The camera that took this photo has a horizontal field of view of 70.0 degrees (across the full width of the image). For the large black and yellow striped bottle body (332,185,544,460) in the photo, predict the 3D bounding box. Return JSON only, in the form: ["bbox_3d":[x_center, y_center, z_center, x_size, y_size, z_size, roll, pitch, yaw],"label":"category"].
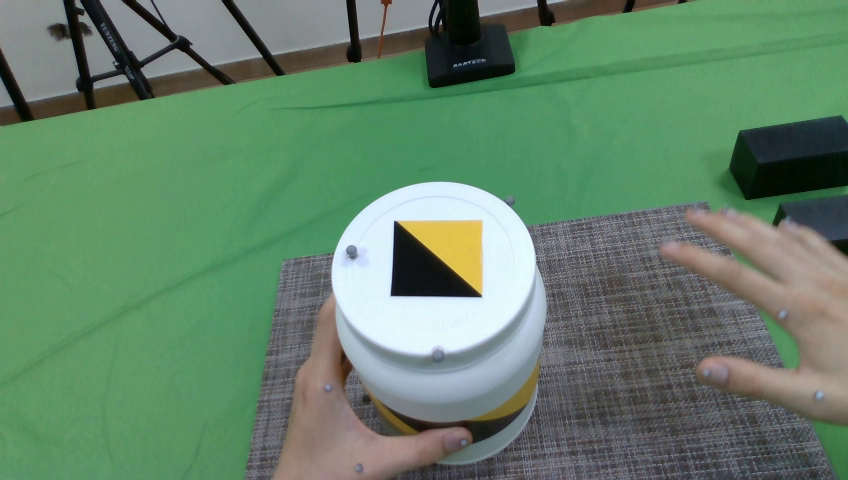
[{"bbox_3d":[0.013,0.061,0.409,0.131,0.186,0.129,-3,56,5],"label":"large black and yellow striped bottle body"}]

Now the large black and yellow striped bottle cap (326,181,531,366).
[{"bbox_3d":[0.002,0.014,0.341,0.115,0.019,0.114,-2,56,3],"label":"large black and yellow striped bottle cap"}]
